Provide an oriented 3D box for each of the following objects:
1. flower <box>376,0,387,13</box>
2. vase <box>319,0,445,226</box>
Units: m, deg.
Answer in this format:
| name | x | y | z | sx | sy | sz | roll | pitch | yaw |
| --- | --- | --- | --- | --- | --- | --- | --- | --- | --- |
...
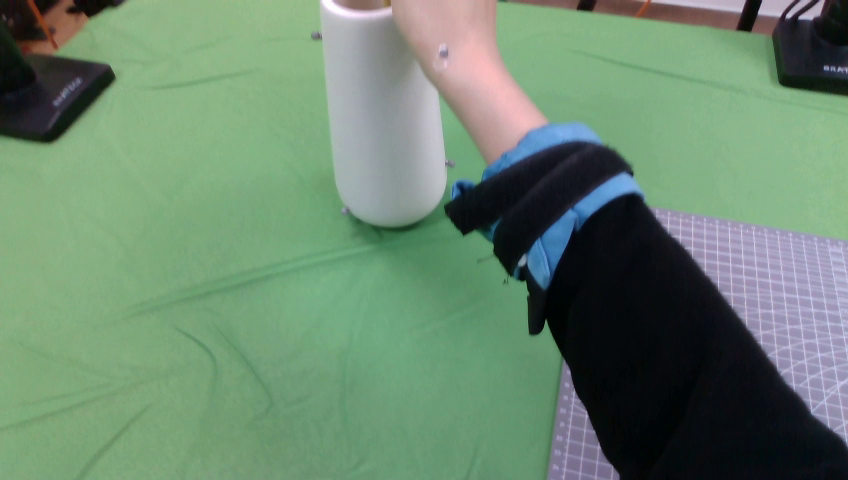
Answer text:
| name | x | y | z | sx | sy | sz | roll | pitch | yaw |
| --- | --- | --- | --- | --- | --- | --- | --- | --- | --- |
| flower | -0.028 | -0.200 | 0.344 | 0.044 | 0.365 | 0.038 | 4 | 54 | 3 |
| vase | -0.031 | -0.103 | 0.481 | 0.098 | 0.202 | 0.097 | 0 | 50 | 1 |
